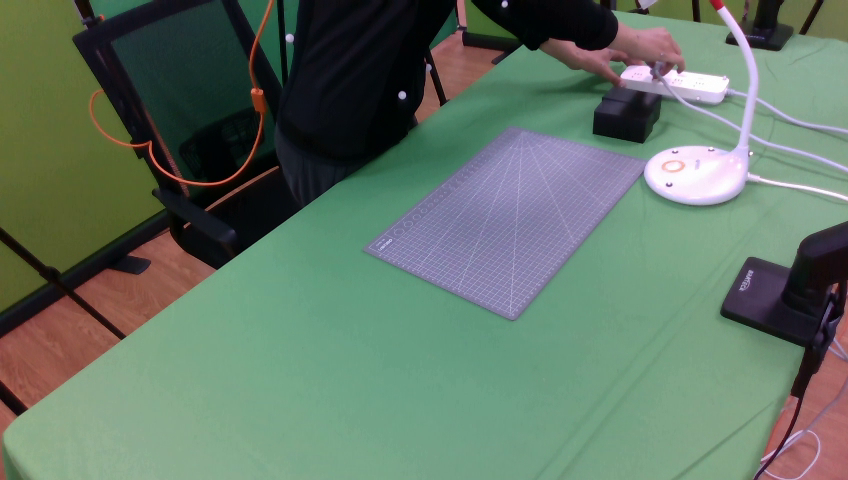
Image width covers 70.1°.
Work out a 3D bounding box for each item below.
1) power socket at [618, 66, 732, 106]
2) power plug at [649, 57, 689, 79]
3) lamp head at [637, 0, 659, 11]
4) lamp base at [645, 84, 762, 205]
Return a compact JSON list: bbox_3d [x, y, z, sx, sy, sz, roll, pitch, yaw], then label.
[{"bbox_3d":[0.519,-0.323,1.260,0.225,0.033,0.072,20,49,30],"label":"power socket"},{"bbox_3d":[0.502,-0.350,1.246,0.072,0.053,0.035,8,66,7],"label":"power plug"},{"bbox_3d":[0.330,-0.391,0.827,0.122,0.113,0.112,-21,35,25],"label":"lamp head"},{"bbox_3d":[0.461,-0.170,0.974,0.179,0.181,0.160,2,42,11],"label":"lamp base"}]
